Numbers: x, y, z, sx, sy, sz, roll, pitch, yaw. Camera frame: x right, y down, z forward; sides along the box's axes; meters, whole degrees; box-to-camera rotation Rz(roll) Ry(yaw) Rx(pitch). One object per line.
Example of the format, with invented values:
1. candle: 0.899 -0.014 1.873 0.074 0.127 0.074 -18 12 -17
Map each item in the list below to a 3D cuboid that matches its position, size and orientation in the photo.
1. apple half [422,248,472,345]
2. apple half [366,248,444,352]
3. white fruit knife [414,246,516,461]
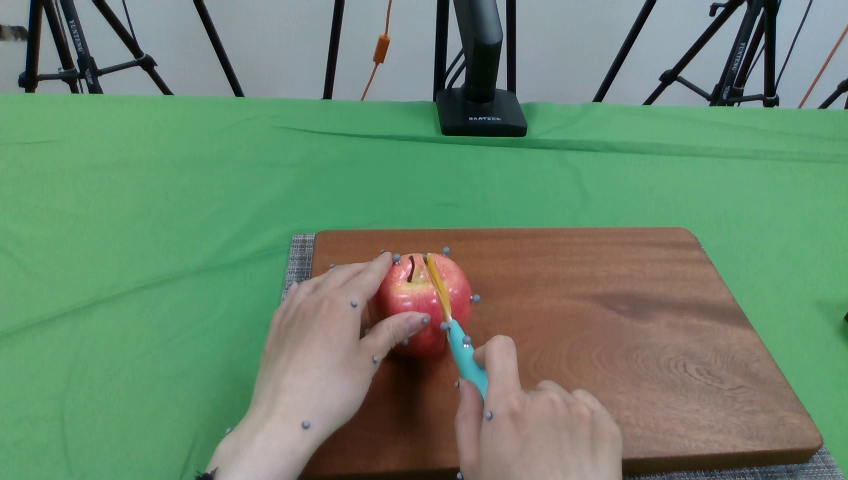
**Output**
1. apple half: 0.021 0.046 0.500 0.033 0.082 0.080 -9 42 -16
2. apple half: -0.019 0.052 0.489 0.053 0.075 0.080 -13 47 -10
3. white fruit knife: 0.022 0.068 0.452 0.016 0.027 0.205 -5 38 -19
